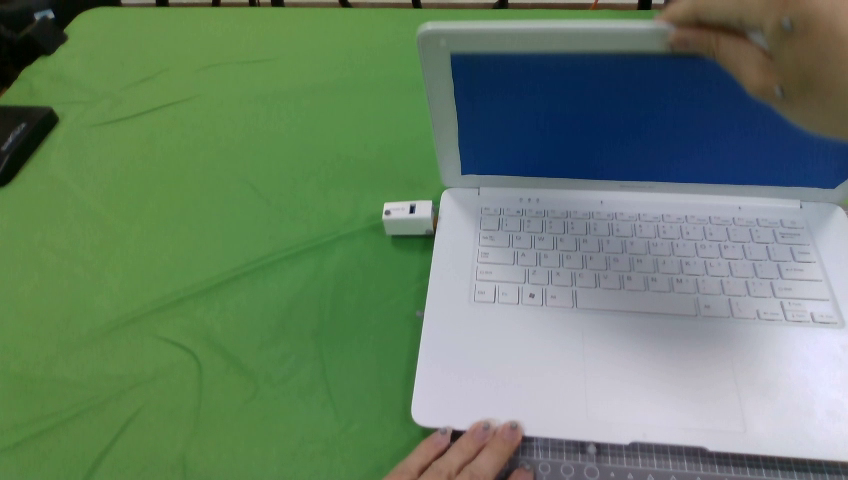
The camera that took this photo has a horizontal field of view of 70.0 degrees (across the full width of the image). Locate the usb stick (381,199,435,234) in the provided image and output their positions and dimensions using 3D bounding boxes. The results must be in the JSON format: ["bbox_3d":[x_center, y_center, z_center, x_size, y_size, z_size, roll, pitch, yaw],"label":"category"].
[{"bbox_3d":[-0.007,-0.021,0.543,0.059,0.027,0.021,0,51,5],"label":"usb stick"}]

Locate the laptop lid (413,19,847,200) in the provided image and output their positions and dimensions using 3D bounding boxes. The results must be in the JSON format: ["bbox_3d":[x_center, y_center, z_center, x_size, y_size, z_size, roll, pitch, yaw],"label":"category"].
[{"bbox_3d":[0.177,-0.082,0.443,0.356,0.243,0.013,2,71,8],"label":"laptop lid"}]

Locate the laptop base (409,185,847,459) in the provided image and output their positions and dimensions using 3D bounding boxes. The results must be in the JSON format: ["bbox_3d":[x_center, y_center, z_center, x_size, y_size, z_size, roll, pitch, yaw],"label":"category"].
[{"bbox_3d":[0.176,0.051,0.483,0.354,0.023,0.233,3,53,6],"label":"laptop base"}]
